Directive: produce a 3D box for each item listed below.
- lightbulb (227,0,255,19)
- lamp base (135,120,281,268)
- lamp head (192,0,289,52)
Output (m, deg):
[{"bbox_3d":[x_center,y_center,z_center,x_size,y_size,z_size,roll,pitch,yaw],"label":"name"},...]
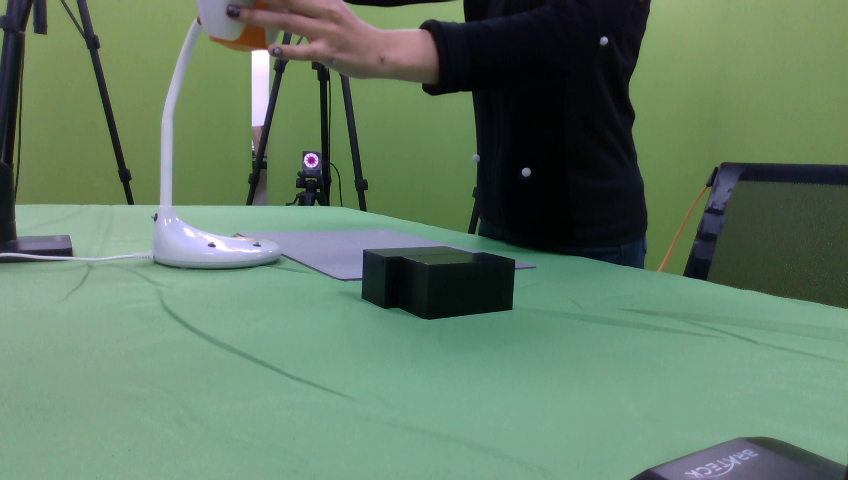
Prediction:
[{"bbox_3d":[-0.177,-0.277,0.604,0.059,0.107,0.059,11,11,-2],"label":"lightbulb"},{"bbox_3d":[-0.276,-0.061,0.773,0.160,0.180,0.180,9,13,44],"label":"lamp base"},{"bbox_3d":[-0.188,-0.254,0.609,0.112,0.123,0.112,10,19,-3],"label":"lamp head"}]
